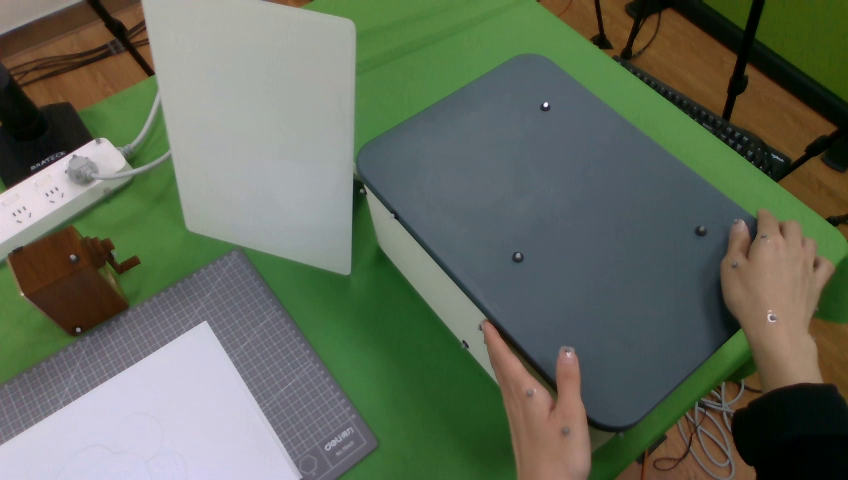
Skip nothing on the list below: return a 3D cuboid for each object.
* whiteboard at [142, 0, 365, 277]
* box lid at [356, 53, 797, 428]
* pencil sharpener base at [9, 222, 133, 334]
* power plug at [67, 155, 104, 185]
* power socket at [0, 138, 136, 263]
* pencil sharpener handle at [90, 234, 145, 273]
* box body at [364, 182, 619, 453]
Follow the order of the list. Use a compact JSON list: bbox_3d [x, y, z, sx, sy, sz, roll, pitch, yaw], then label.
[{"bbox_3d":[-0.155,-0.138,0.686,0.216,0.308,0.143,15,41,10],"label":"whiteboard"},{"bbox_3d":[0.133,-0.034,0.582,0.263,0.015,0.368,-34,64,-19],"label":"box lid"},{"bbox_3d":[-0.375,0.042,0.656,0.077,0.108,0.061,-31,63,-18],"label":"pencil sharpener base"},{"bbox_3d":[-0.412,-0.074,0.743,0.035,0.053,0.072,-30,64,-17],"label":"power plug"},{"bbox_3d":[-0.469,-0.049,0.755,0.226,0.033,0.071,-39,67,-21],"label":"power socket"},{"bbox_3d":[-0.333,0.011,0.661,0.030,0.068,0.035,-31,62,-18],"label":"pencil sharpener handle"},{"bbox_3d":[0.134,0.008,0.645,0.254,0.162,0.361,-34,64,-19],"label":"box body"}]
